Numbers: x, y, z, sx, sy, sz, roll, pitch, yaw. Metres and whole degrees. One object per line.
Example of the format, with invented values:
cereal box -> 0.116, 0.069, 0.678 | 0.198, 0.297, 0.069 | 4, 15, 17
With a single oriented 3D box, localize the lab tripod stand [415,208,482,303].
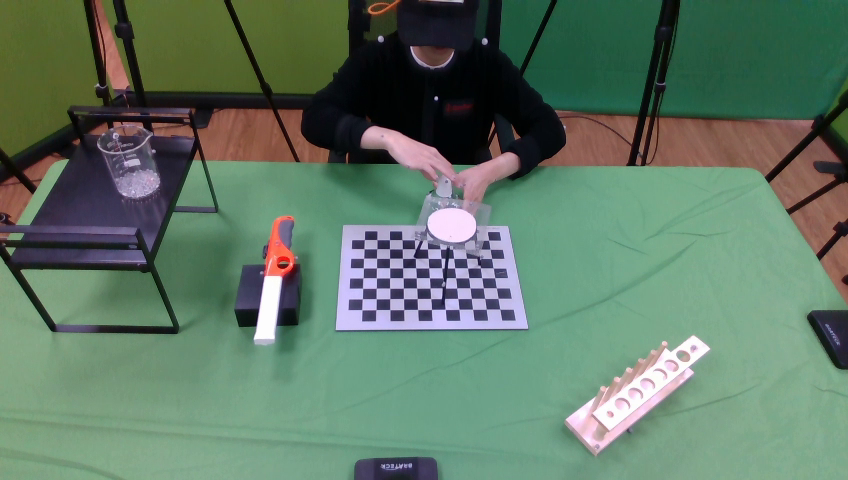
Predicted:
lab tripod stand -> 0.043, 0.018, 1.097 | 0.148, 0.132, 0.147 | 1, 46, 0

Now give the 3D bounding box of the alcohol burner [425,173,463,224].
alcohol burner -> 0.042, -0.090, 1.220 | 0.078, 0.120, 0.077 | 2, 48, -2

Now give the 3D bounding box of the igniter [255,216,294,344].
igniter -> -0.258, 0.059, 1.051 | 0.057, 0.025, 0.274 | 2, 47, -6

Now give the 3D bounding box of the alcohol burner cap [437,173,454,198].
alcohol burner cap -> 0.044, -0.111, 1.198 | 0.034, 0.048, 0.033 | 2, 48, -2

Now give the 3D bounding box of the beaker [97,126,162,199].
beaker -> -0.468, -0.124, 0.979 | 0.084, 0.101, 0.073 | -25, 53, -26

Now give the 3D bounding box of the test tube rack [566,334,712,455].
test tube rack -> 0.338, 0.228, 0.951 | 0.242, 0.085, 0.066 | -26, 52, -26

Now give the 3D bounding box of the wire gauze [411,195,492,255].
wire gauze -> 0.049, -0.031, 1.051 | 0.125, 0.011, 0.121 | 11, 47, 9
